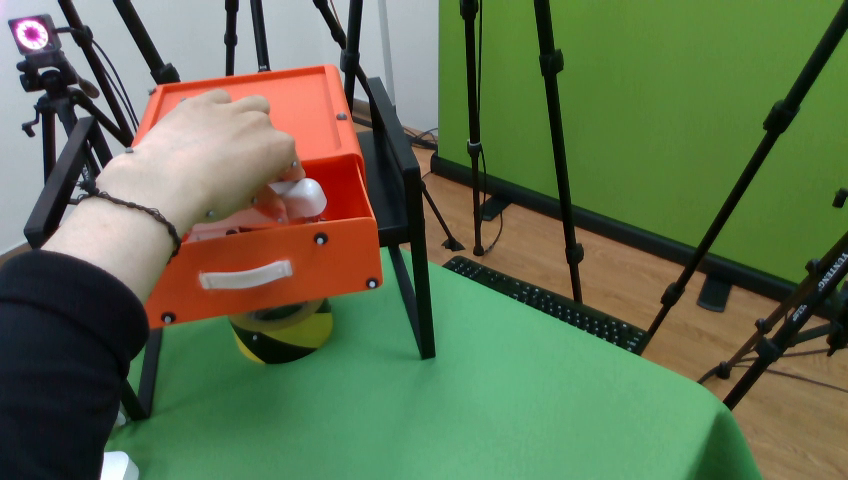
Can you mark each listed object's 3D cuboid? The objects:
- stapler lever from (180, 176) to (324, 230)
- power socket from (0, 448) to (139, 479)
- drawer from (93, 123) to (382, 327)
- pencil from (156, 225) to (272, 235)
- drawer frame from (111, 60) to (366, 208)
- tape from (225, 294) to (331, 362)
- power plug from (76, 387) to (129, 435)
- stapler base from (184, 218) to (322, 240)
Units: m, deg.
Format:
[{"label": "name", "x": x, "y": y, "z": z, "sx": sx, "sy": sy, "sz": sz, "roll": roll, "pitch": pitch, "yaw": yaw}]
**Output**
[{"label": "stapler lever", "x": -0.140, "y": -0.030, "z": 0.494, "sx": 0.118, "sy": 0.040, "sz": 0.026, "roll": -1, "pitch": 35, "yaw": 3}, {"label": "power socket", "x": -0.365, "y": 0.228, "z": 0.530, "sx": 0.227, "sy": 0.033, "sz": 0.071, "roll": -5, "pitch": 37, "yaw": -1}, {"label": "drawer", "x": -0.149, "y": -0.034, "z": 0.519, "sx": 0.195, "sy": 0.074, "sz": 0.209, "roll": -10, "pitch": 38, "yaw": -7}, {"label": "pencil", "x": -0.160, "y": -0.009, "z": 0.519, "sx": 0.193, "sy": 0.012, "sz": 0.012, "roll": -1, "pitch": 37, "yaw": 22}, {"label": "drawer frame", "x": -0.170, "y": -0.089, "z": 0.589, "sx": 0.202, "sy": 0.083, "sz": 0.211, "roll": -11, "pitch": 38, "yaw": -8}, {"label": "tape", "x": -0.164, "y": 0.078, "z": 0.690, "sx": 0.117, "sy": 0.053, "sz": 0.115, "roll": -2, "pitch": 38, "yaw": 2}, {"label": "power plug", "x": -0.326, "y": 0.177, "z": 0.608, "sx": 0.072, "sy": 0.035, "sz": 0.052, "roll": -33, "pitch": 25, "yaw": 23}, {"label": "stapler base", "x": -0.138, "y": -0.010, "z": 0.509, "sx": 0.130, "sy": 0.024, "sz": 0.041, "roll": -1, "pitch": 35, "yaw": 3}]
